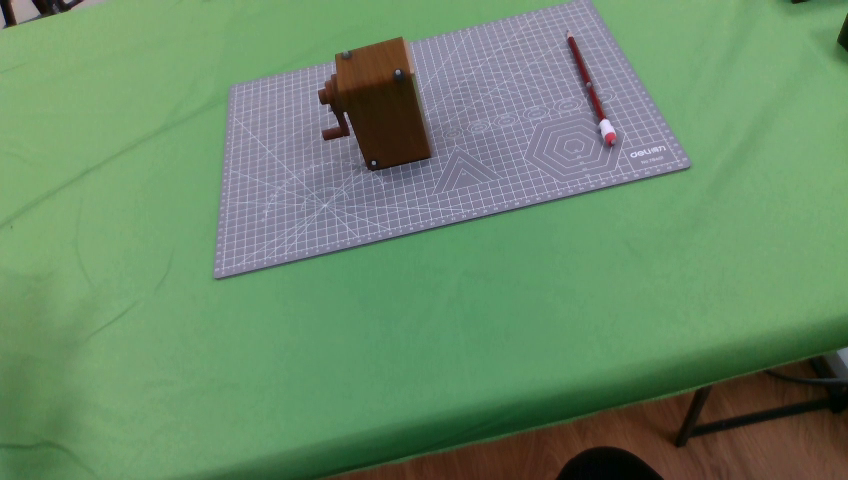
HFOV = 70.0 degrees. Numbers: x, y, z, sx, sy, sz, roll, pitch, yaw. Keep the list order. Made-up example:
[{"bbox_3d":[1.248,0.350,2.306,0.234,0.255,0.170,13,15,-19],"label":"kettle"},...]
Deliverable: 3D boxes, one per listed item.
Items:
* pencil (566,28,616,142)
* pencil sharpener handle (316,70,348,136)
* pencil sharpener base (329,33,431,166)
[{"bbox_3d":[0.169,-0.168,0.631,0.012,0.012,0.192,-10,51,5],"label":"pencil"},{"bbox_3d":[-0.093,-0.127,0.580,0.030,0.068,0.035,-14,52,3],"label":"pencil sharpener handle"},{"bbox_3d":[-0.041,-0.132,0.587,0.076,0.108,0.060,-14,52,3],"label":"pencil sharpener base"}]
